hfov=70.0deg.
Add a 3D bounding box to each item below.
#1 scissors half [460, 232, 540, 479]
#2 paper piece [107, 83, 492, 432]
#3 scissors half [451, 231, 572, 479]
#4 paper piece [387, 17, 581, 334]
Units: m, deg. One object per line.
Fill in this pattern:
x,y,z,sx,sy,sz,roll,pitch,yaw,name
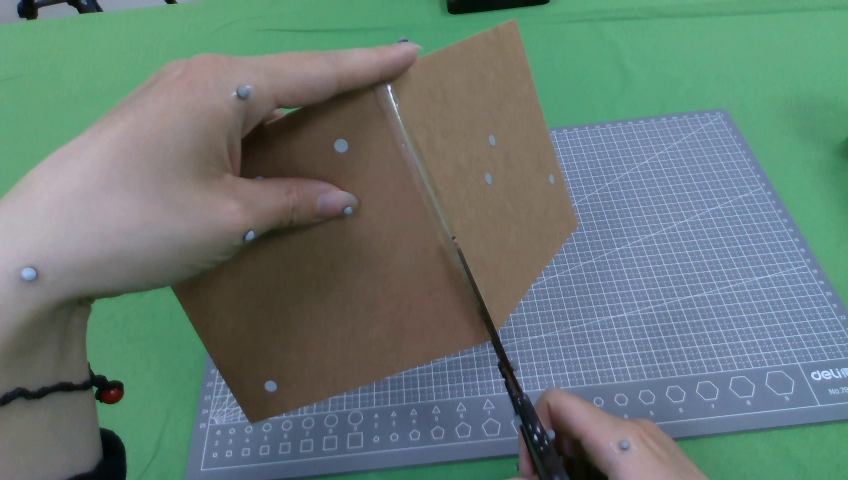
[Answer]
0.045,0.070,0.312,0.013,0.177,0.039,-21,29,-1,scissors half
-0.057,0.016,0.287,0.138,0.136,0.008,-22,13,9,paper piece
0.047,0.074,0.288,0.013,0.040,0.174,-21,81,-5,scissors half
0.044,-0.041,0.325,0.004,0.136,0.135,-8,21,39,paper piece
